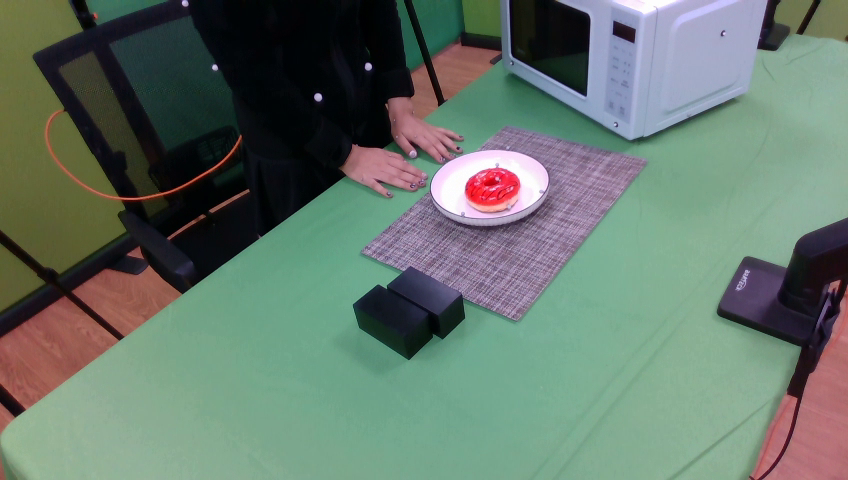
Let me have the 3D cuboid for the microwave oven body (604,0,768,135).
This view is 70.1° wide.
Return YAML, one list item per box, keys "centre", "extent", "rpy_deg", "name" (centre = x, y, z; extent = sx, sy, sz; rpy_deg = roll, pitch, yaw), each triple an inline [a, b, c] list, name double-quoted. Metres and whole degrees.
- centre: [0.410, -0.441, 1.235]
  extent: [0.327, 0.261, 0.437]
  rpy_deg: [-25, 42, -16]
  name: "microwave oven body"

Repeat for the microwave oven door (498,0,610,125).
- centre: [0.261, -0.410, 1.219]
  extent: [0.039, 0.245, 0.352]
  rpy_deg: [-24, 42, -17]
  name: "microwave oven door"

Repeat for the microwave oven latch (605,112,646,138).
- centre: [0.375, -0.217, 1.130]
  extent: [0.030, 0.029, 0.078]
  rpy_deg: [-24, 42, -16]
  name: "microwave oven latch"

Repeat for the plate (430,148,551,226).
- centre: [0.114, -0.089, 1.049]
  extent: [0.209, 0.038, 0.208]
  rpy_deg: [-5, 40, 5]
  name: "plate"

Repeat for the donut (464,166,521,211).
- centre: [0.117, -0.089, 1.031]
  extent: [0.099, 0.048, 0.098]
  rpy_deg: [-7, 41, 7]
  name: "donut"
